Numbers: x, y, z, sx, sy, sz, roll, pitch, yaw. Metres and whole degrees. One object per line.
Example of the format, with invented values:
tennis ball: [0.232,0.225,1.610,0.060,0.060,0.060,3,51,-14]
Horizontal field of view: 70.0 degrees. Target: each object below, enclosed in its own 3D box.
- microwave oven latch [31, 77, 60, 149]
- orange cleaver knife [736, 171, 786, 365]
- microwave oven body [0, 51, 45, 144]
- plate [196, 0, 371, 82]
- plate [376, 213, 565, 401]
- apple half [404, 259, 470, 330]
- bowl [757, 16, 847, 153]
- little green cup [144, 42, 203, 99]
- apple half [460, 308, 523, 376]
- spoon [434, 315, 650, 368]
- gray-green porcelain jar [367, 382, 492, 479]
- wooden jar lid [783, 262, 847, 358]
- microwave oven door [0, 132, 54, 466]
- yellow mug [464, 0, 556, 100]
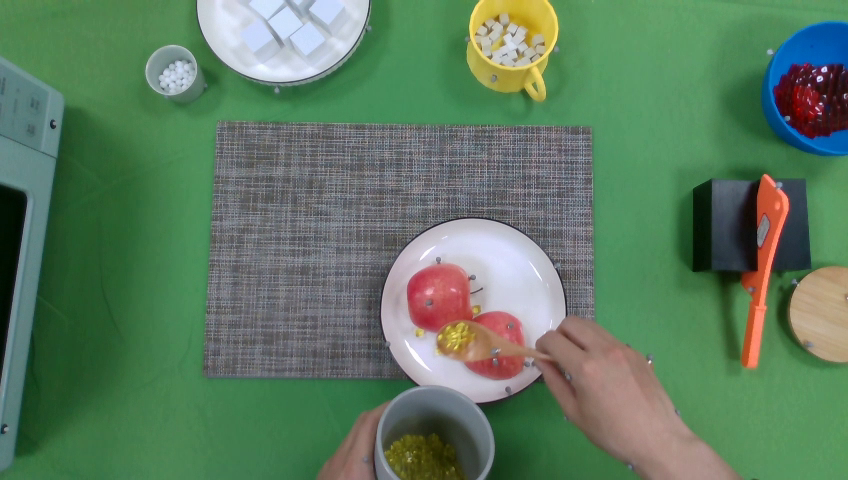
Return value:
microwave oven latch: [-0.445,-0.147,0.700,0.030,0.029,0.079,8,84,1]
orange cleaver knife: [0.361,0.032,0.665,0.012,0.077,0.212,2,108,4]
microwave oven body: [-0.608,0.006,0.588,0.326,0.260,0.440,4,84,1]
plate: [-0.166,-0.287,0.731,0.208,0.039,0.207,0,84,1]
plate: [0.051,0.074,0.683,0.209,0.038,0.208,0,84,1]
apple half: [0.014,0.060,0.670,0.074,0.053,0.080,-2,84,3]
bowl: [0.443,-0.164,0.688,0.151,0.077,0.151,0,84,1]
little green cup: [-0.295,-0.198,0.720,0.061,0.039,0.061,0,84,0]
apple half: [0.074,0.114,0.672,0.081,0.033,0.081,0,80,1]
spoon: [0.102,0.098,0.548,0.193,0.022,0.042,6,98,22]
gray-green porcelain jar: [0.000,0.213,0.573,0.106,0.127,0.105,6,45,-5]
wooden jar lid: [0.461,0.079,0.689,0.108,0.021,0.108,0,84,2]
microwave oven door: [-0.465,0.058,0.575,0.039,0.244,0.355,4,83,2]
yellow mug: [0.105,-0.222,0.706,0.100,0.064,0.130,-28,85,-3]
